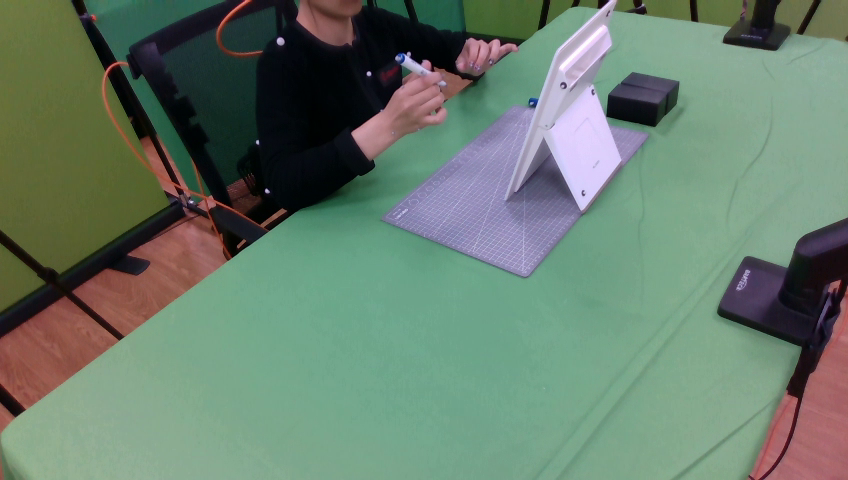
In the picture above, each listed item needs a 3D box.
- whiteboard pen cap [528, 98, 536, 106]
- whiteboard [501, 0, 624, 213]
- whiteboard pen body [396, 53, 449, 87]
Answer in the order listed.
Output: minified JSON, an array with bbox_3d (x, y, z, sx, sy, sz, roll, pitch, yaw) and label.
[{"bbox_3d":[0.239,-0.293,1.288,0.033,0.018,0.018,22,50,35],"label":"whiteboard pen cap"},{"bbox_3d":[0.271,-0.189,0.977,0.143,0.306,0.218,34,53,16],"label":"whiteboard"},{"bbox_3d":[0.002,-0.269,0.972,0.017,0.017,0.142,25,9,34],"label":"whiteboard pen body"}]
